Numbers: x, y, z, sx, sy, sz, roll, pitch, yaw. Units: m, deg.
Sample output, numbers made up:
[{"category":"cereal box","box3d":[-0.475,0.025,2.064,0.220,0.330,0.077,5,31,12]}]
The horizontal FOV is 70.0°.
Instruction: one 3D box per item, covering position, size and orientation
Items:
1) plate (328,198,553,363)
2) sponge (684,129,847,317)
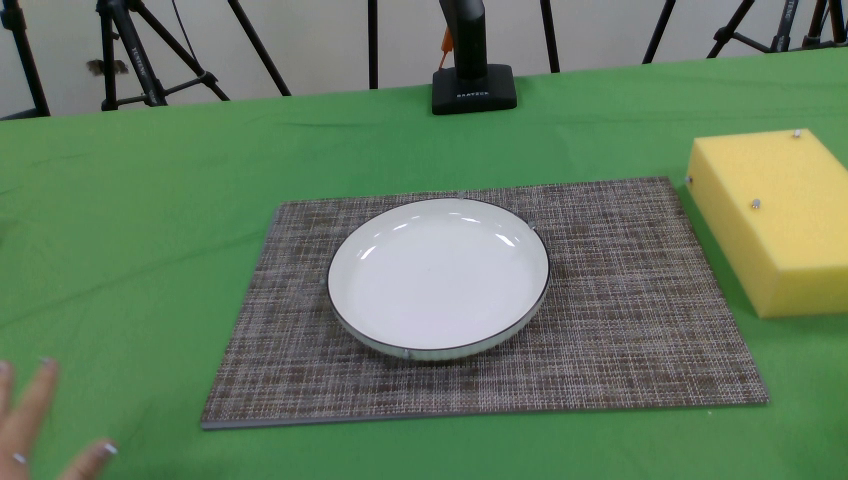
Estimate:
[{"category":"plate","box3d":[0.016,0.037,0.569,0.207,0.039,0.205,-5,40,4]},{"category":"sponge","box3d":[0.344,-0.024,0.576,0.118,0.061,0.205,-5,40,3]}]
